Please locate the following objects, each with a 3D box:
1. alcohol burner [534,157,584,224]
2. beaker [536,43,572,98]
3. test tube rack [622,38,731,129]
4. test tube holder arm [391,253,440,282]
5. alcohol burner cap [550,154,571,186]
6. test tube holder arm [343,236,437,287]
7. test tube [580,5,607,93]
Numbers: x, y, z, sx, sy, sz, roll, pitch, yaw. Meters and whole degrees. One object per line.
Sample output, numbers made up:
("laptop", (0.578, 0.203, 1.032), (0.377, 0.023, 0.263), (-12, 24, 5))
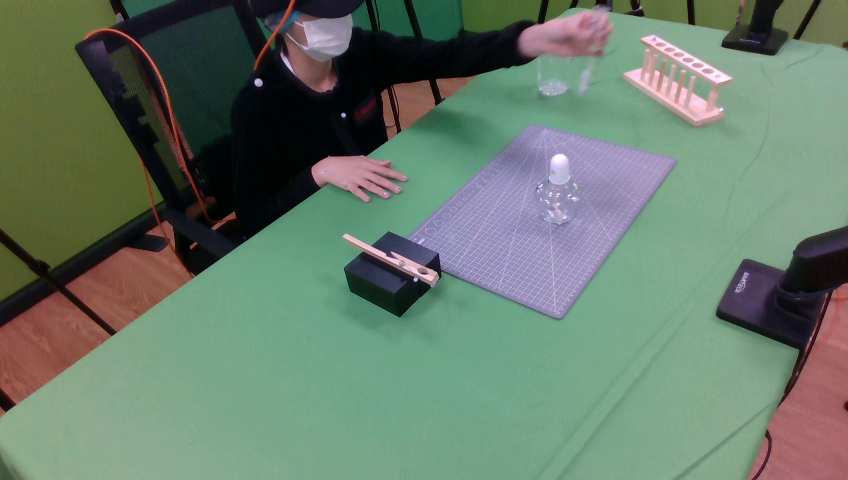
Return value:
("alcohol burner", (0.217, -0.085, 0.967), (0.078, 0.119, 0.077), (-3, 41, 3))
("beaker", (0.280, -0.368, 1.311), (0.074, 0.101, 0.084), (4, 40, 14))
("test tube rack", (0.506, -0.325, 1.234), (0.067, 0.085, 0.240), (-18, 41, -11))
("test tube holder arm", (-0.015, 0.039, 0.858), (0.087, 0.015, 0.010), (23, 57, 32))
("alcohol burner cap", (0.212, -0.112, 0.944), (0.034, 0.048, 0.033), (-6, 44, 7))
("test tube holder arm", (-0.053, 0.028, 0.879), (0.177, 0.015, 0.013), (22, 57, 32))
("test tube", (0.280, -0.314, 1.004), (0.017, 0.151, 0.017), (1, 43, -1))
